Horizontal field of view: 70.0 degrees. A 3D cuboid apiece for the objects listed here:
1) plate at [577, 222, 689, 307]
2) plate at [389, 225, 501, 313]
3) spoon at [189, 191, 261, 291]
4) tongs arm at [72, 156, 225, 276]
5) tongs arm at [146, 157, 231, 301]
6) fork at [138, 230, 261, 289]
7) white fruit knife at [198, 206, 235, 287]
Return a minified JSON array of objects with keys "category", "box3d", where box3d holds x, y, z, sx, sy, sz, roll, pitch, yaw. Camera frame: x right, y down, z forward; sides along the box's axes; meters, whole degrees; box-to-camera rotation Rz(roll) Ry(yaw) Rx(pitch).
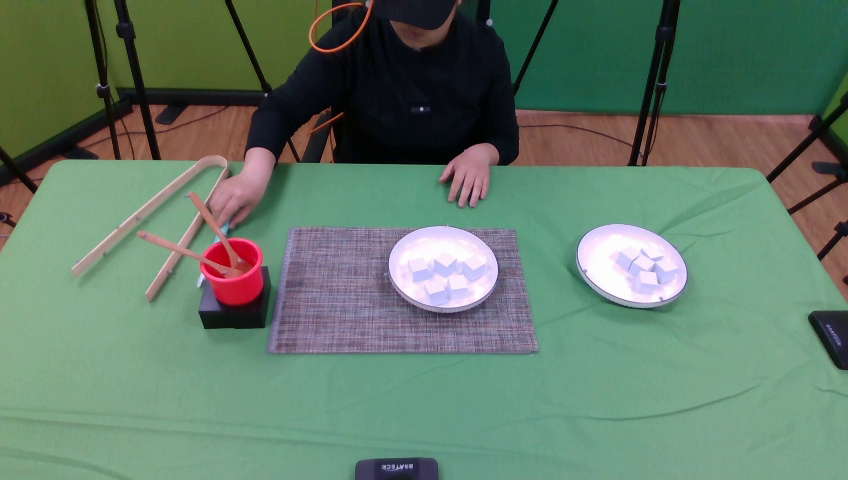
[{"category":"plate","box3d":[0.396,0.050,1.165,0.209,0.038,0.208,2,47,-2]},{"category":"plate","box3d":[0.038,0.057,1.129,0.208,0.039,0.206,2,46,-2]},{"category":"spoon","box3d":[-0.333,0.001,1.012,0.041,0.194,0.021,-34,15,-25]},{"category":"tongs arm","box3d":[-0.531,-0.058,1.204,0.050,0.026,0.383,19,47,13]},{"category":"tongs arm","box3d":[-0.454,-0.034,1.194,0.028,0.028,0.385,7,46,6]},{"category":"fork","box3d":[-0.360,0.032,0.981,0.208,0.018,0.028,31,60,-30]},{"category":"white fruit knife","box3d":[-0.397,0.008,1.161,0.027,0.016,0.206,-26,41,31]}]
